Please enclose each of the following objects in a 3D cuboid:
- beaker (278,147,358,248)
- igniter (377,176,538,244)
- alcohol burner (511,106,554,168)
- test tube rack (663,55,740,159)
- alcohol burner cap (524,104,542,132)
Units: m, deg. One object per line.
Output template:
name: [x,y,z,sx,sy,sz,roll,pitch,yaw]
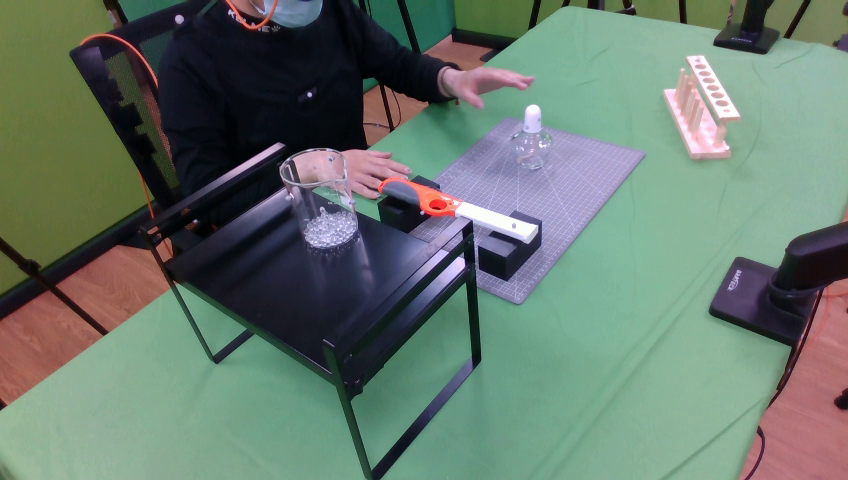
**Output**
beaker: [-0.117,-0.046,0.705,0.083,0.101,0.074,17,47,25]
igniter: [0.046,-0.052,0.942,0.274,0.025,0.057,21,47,27]
alcohol burner: [0.196,-0.190,1.088,0.078,0.119,0.077,-3,42,3]
test tube rack: [0.518,-0.256,1.144,0.066,0.085,0.241,-1,41,8]
alcohol burner cap: [0.193,-0.216,1.065,0.034,0.048,0.033,-4,36,3]
